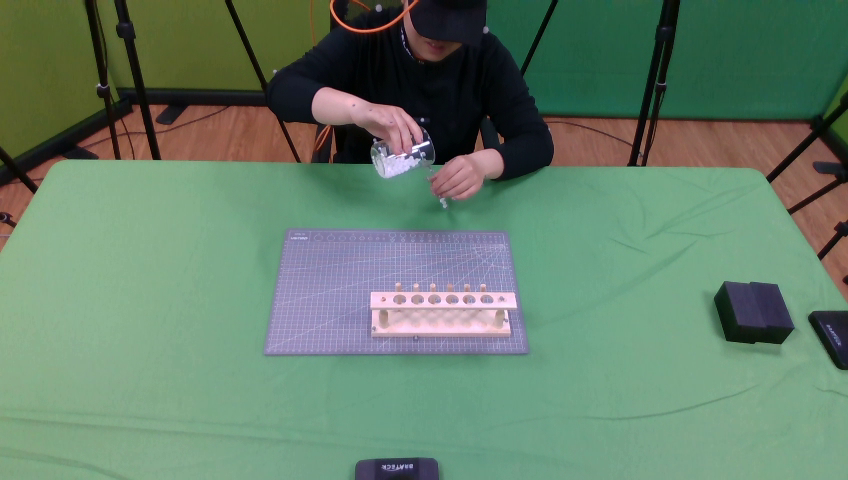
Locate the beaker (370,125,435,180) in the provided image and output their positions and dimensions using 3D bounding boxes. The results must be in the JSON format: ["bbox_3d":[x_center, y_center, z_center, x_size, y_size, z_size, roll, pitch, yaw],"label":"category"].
[{"bbox_3d":[-0.041,-0.155,1.105,0.100,0.084,0.073,-23,48,-18],"label":"beaker"}]

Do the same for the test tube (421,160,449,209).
[{"bbox_3d":[0.023,-0.107,1.206,0.017,0.151,0.017,-10,56,15],"label":"test tube"}]

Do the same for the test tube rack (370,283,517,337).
[{"bbox_3d":[0.030,0.116,1.041,0.242,0.085,0.066,1,46,-4],"label":"test tube rack"}]
